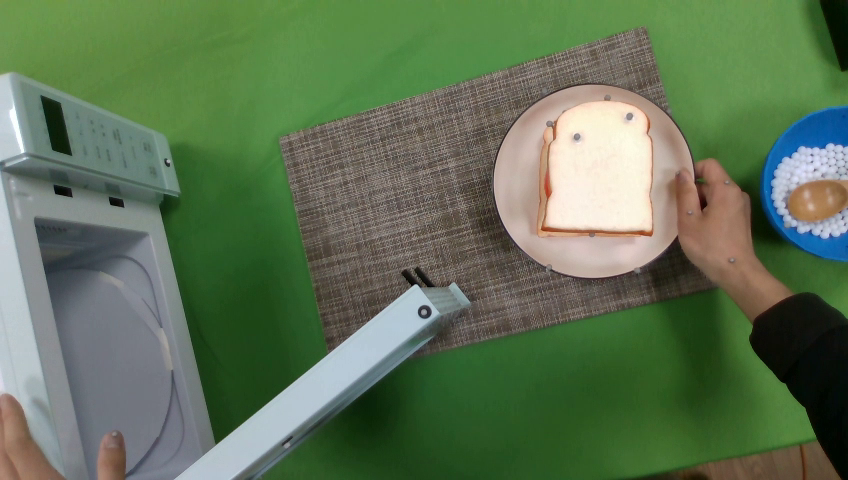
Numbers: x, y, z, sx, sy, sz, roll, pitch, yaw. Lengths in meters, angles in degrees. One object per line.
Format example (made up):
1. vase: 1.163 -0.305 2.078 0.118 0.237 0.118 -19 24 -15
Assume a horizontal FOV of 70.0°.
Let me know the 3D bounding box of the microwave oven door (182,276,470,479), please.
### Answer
1. microwave oven door: -0.114 0.159 0.588 0.356 0.244 0.039 -40 81 5

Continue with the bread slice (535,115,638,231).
1. bread slice: 0.169 -0.074 0.650 0.107 0.018 0.134 -3 86 5

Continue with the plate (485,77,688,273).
1. plate: 0.171 -0.067 0.651 0.207 0.039 0.207 0 88 6

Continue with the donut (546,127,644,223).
1. donut: 0.173 -0.066 0.619 0.099 0.048 0.099 0 87 1

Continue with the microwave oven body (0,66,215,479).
1. microwave oven body: -0.438 0.105 0.648 0.326 0.261 0.440 -17 85 8

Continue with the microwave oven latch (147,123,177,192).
1. microwave oven latch: -0.328 -0.100 0.738 0.030 0.029 0.079 -17 85 8

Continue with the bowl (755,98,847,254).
1. bowl: 0.405 -0.059 0.612 0.151 0.077 0.151 -1 87 9

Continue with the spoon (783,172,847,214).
1. spoon: 0.448 -0.068 0.574 0.193 0.022 0.041 -20 78 30

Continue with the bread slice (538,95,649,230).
1. bread slice: 0.167 -0.077 0.594 0.104 0.019 0.131 1 87 11
